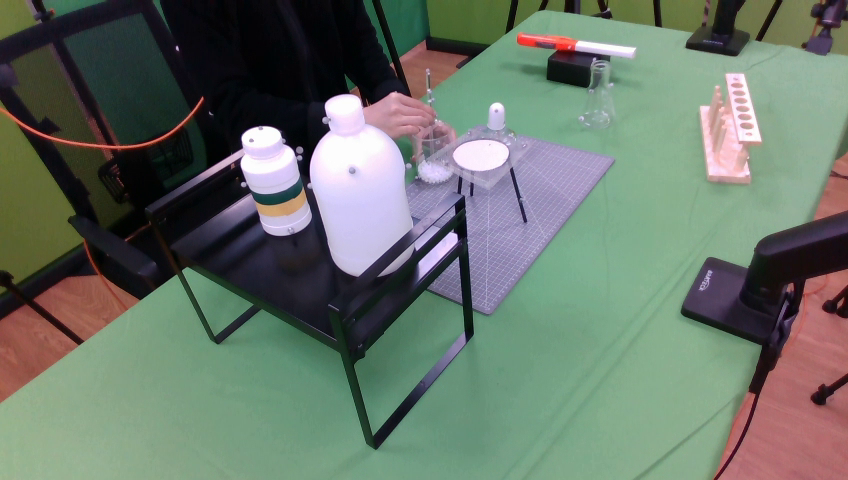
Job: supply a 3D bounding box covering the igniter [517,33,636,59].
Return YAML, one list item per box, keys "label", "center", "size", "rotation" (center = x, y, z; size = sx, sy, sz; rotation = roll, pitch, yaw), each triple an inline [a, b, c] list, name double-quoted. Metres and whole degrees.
- label: "igniter"
  center: [0.336, -0.441, 1.369]
  size: [0.275, 0.025, 0.057]
  rotation: [16, 41, 23]

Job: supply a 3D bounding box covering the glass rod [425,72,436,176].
- label: "glass rod"
  center: [0.012, -0.194, 1.041]
  size: [0.008, 0.200, 0.008]
  rotation: [-3, 39, 3]

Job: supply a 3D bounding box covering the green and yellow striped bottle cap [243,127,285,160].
- label: "green and yellow striped bottle cap"
  center: [-0.183, -0.111, 0.694]
  size: [0.045, 0.020, 0.045]
  rotation: [-1, 42, 1]

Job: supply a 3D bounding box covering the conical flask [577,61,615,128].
- label: "conical flask"
  center: [0.343, -0.288, 1.188]
  size: [0.075, 0.122, 0.075]
  rotation: [-4, 41, 4]

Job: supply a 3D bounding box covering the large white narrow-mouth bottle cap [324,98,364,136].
- label: "large white narrow-mouth bottle cap"
  center: [-0.077, -0.120, 0.585]
  size: [0.038, 0.024, 0.037]
  rotation: [-3, 42, 4]

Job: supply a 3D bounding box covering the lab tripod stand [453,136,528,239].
- label: "lab tripod stand"
  center: [0.094, -0.086, 0.974]
  size: [0.148, 0.132, 0.147]
  rotation: [-4, 43, 4]

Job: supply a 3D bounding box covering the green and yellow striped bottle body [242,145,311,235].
- label: "green and yellow striped bottle body"
  center: [-0.179, -0.069, 0.730]
  size: [0.063, 0.120, 0.063]
  rotation: [-4, 41, 4]

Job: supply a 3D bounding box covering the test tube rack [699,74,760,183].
- label: "test tube rack"
  center: [0.547, -0.208, 1.095]
  size: [0.066, 0.085, 0.242]
  rotation: [6, 42, 16]

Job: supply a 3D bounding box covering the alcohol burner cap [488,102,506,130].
- label: "alcohol burner cap"
  center: [0.133, -0.227, 1.092]
  size: [0.034, 0.048, 0.033]
  rotation: [-1, 47, 2]

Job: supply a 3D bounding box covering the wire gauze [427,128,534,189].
- label: "wire gauze"
  center: [0.086, -0.131, 0.924]
  size: [0.124, 0.011, 0.122]
  rotation: [26, 52, 33]

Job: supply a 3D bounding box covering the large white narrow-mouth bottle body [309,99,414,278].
- label: "large white narrow-mouth bottle body"
  center: [-0.068, -0.057, 0.644]
  size: [0.102, 0.195, 0.101]
  rotation: [-4, 42, 4]

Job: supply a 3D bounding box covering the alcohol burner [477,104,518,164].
- label: "alcohol burner"
  center: [0.135, -0.200, 1.117]
  size: [0.078, 0.119, 0.077]
  rotation: [-4, 43, 4]

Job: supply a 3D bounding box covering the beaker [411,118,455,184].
- label: "beaker"
  center: [0.020, -0.161, 1.099]
  size: [0.073, 0.100, 0.084]
  rotation: [14, 44, 22]
